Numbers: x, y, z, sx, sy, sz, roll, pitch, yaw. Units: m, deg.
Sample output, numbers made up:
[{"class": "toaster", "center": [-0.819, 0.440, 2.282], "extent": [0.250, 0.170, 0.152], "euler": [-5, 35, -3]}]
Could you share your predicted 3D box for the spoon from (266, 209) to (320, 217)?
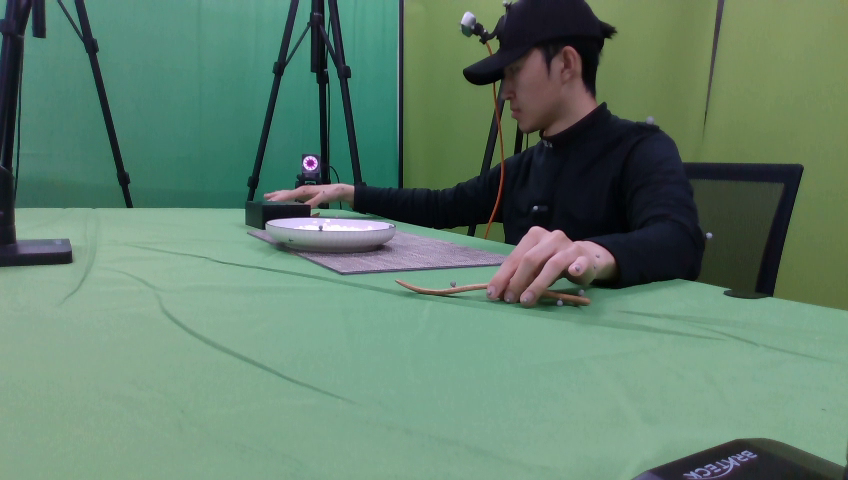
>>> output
[{"class": "spoon", "center": [-0.315, -0.064, 1.434], "extent": [0.193, 0.021, 0.042], "euler": [8, 24, 40]}]

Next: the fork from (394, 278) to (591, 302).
[{"class": "fork", "center": [0.070, 0.053, 0.638], "extent": [0.207, 0.018, 0.028], "euler": [2, -7, 7]}]

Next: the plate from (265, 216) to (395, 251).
[{"class": "plate", "center": [-0.150, -0.011, 0.978], "extent": [0.209, 0.038, 0.209], "euler": [2, 7, 0]}]
